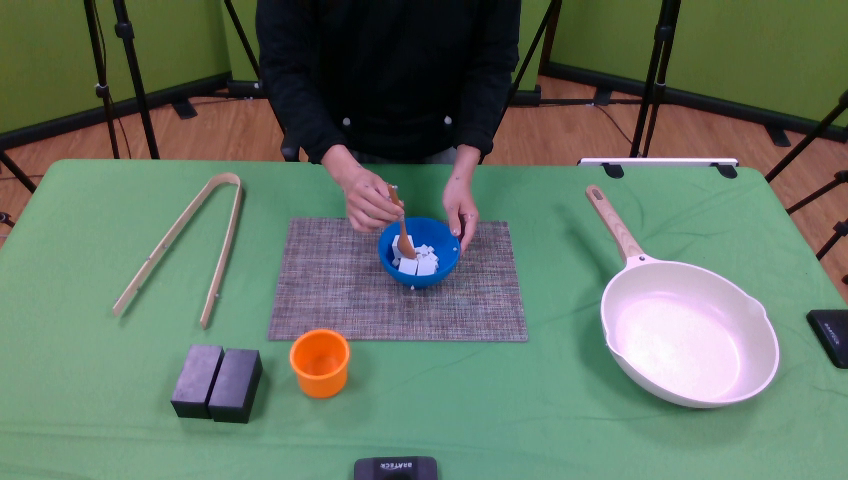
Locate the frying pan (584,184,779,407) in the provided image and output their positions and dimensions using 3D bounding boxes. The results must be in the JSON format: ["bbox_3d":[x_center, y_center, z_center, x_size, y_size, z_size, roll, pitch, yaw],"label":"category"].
[{"bbox_3d":[0.412,0.079,1.097,0.307,0.103,0.484,-10,56,-15],"label":"frying pan"}]

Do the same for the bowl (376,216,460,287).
[{"bbox_3d":[-0.013,0.035,1.119,0.151,0.077,0.150,2,46,-2],"label":"bowl"}]

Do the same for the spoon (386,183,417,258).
[{"bbox_3d":[-0.041,-0.029,1.028,0.041,0.195,0.021,25,57,28],"label":"spoon"}]

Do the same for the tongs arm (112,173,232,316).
[{"bbox_3d":[-0.467,-0.005,1.157,0.051,0.026,0.382,11,45,4],"label":"tongs arm"}]

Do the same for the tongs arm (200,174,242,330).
[{"bbox_3d":[-0.387,0.008,1.158,0.028,0.028,0.385,-1,46,-3],"label":"tongs arm"}]
